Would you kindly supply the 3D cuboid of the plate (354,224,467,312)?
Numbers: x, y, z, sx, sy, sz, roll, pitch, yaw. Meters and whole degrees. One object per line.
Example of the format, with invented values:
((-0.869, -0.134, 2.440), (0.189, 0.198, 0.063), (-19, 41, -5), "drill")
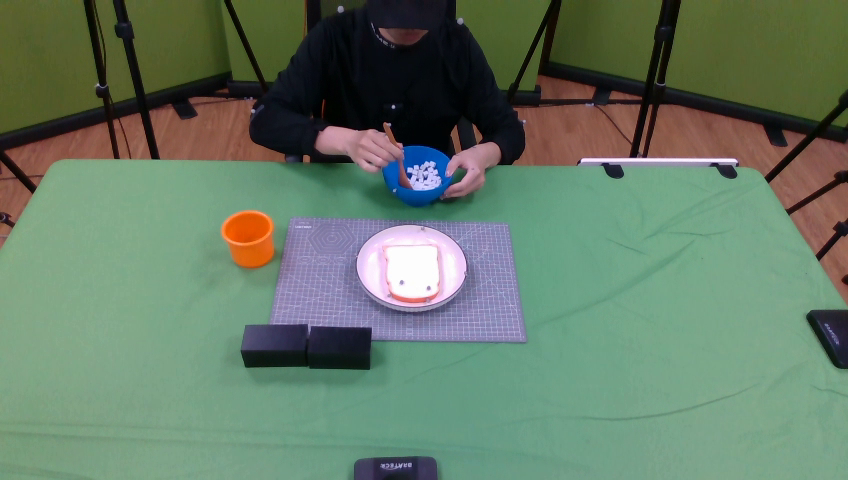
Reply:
((-0.025, 0.055, 1.128), (0.209, 0.038, 0.208), (3, 46, -2), "plate")

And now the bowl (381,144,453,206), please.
((-0.016, -0.124, 1.277), (0.151, 0.077, 0.150), (2, 46, -2), "bowl")

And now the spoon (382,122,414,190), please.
((-0.053, -0.160, 1.207), (0.041, 0.195, 0.021), (27, 60, 35), "spoon")

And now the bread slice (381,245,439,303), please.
((-0.022, 0.061, 1.126), (0.107, 0.018, 0.133), (-3, 45, -8), "bread slice")
